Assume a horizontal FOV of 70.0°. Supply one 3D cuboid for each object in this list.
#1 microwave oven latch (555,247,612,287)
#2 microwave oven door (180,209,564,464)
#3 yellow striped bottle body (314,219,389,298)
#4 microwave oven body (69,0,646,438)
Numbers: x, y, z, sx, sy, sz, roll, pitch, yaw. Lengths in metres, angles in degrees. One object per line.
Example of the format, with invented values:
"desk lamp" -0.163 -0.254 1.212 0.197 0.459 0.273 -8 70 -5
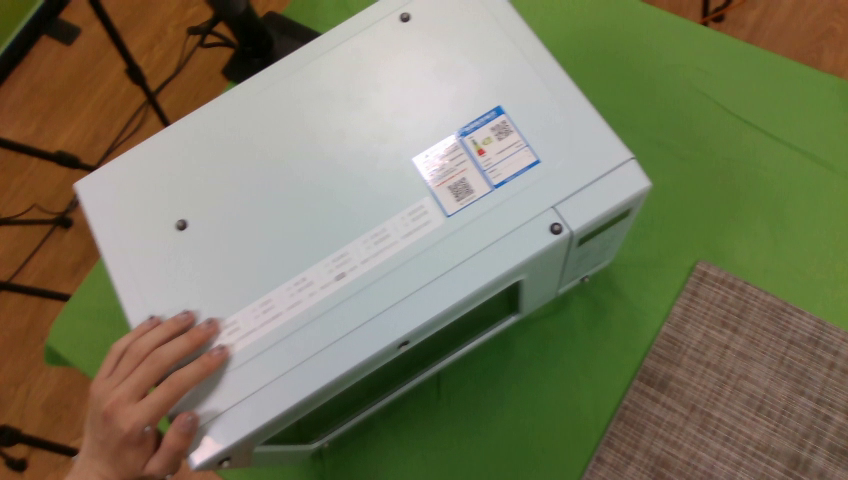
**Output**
"microwave oven latch" 0.177 0.022 0.700 0.079 0.030 0.030 -31 72 -1
"microwave oven door" -0.024 0.107 0.596 0.356 0.245 0.039 -32 70 -2
"yellow striped bottle body" -0.077 0.018 0.645 0.063 0.121 0.062 -2 72 6
"microwave oven body" -0.063 -0.029 0.649 0.442 0.262 0.323 -33 72 -2
